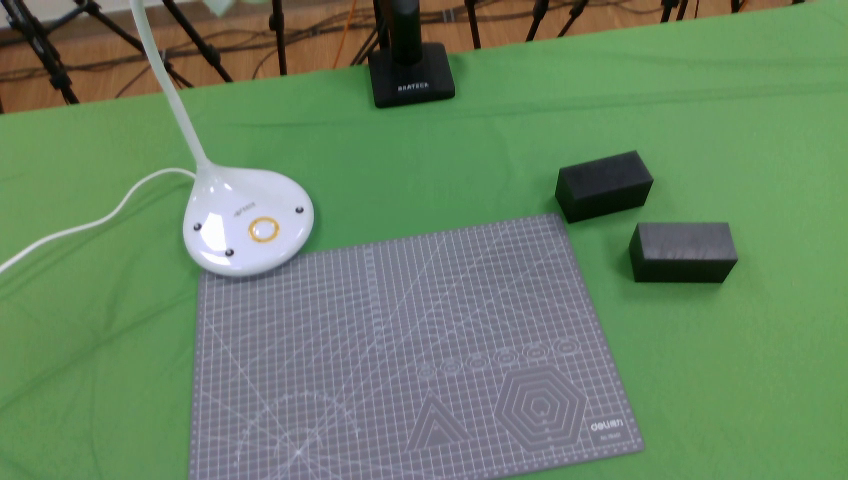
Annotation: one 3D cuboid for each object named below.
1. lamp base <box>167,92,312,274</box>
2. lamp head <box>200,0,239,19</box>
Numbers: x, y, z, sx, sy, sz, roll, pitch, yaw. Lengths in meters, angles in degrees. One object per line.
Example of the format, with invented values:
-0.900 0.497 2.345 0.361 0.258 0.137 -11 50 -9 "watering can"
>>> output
-0.235 -0.076 0.706 0.178 0.182 0.160 29 61 25 "lamp base"
-0.176 -0.258 0.486 0.124 0.112 0.111 37 56 -22 "lamp head"
